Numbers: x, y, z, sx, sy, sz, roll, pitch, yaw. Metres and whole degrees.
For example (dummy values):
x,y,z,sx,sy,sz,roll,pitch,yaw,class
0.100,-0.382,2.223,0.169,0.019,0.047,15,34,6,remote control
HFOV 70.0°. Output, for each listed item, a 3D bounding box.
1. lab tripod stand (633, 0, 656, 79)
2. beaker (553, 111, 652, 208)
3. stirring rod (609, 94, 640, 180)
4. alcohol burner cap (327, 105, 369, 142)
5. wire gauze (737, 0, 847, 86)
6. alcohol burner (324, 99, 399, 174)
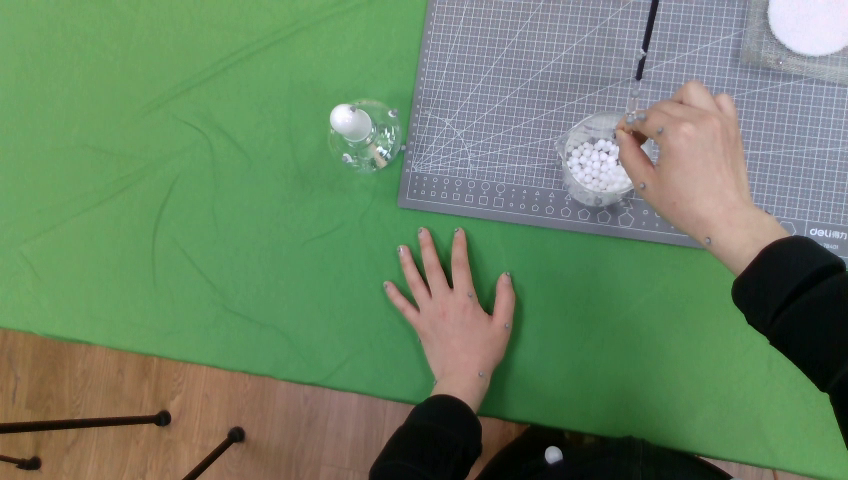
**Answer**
x,y,z,sx,sy,sz,roll,pitch,yaw,class
0.202,-0.239,0.552,0.148,0.132,0.148,0,88,9,lab tripod stand
0.161,-0.071,0.567,0.084,0.100,0.074,15,88,12,beaker
0.164,-0.079,0.500,0.014,0.177,0.006,-8,75,13,stirring rod
-0.074,-0.111,0.570,0.034,0.048,0.034,0,90,10,alcohol burner cap
0.374,-0.216,0.584,0.125,0.011,0.121,13,88,8,wire gauze
-0.067,-0.108,0.605,0.078,0.119,0.077,-1,84,9,alcohol burner
